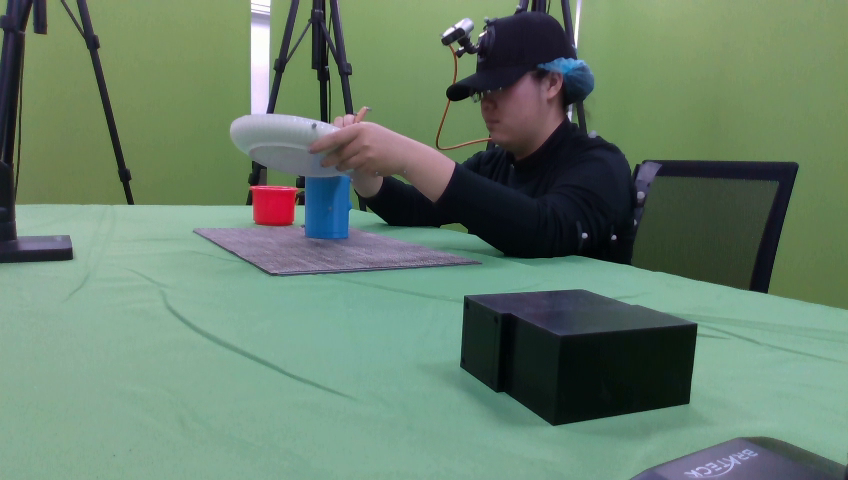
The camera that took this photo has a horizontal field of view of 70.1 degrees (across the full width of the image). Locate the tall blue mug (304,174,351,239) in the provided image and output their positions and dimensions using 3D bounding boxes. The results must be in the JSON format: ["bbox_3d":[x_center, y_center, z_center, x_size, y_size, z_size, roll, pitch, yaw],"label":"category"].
[{"bbox_3d":[-0.178,-0.062,1.062,0.078,0.108,0.106,-5,10,-38],"label":"tall blue mug"}]

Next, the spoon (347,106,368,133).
[{"bbox_3d":[-0.134,-0.181,1.035,0.041,0.022,0.194,-2,35,21],"label":"spoon"}]

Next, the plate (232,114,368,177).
[{"bbox_3d":[-0.193,-0.136,0.939,0.208,0.039,0.208,6,-11,1],"label":"plate"}]
